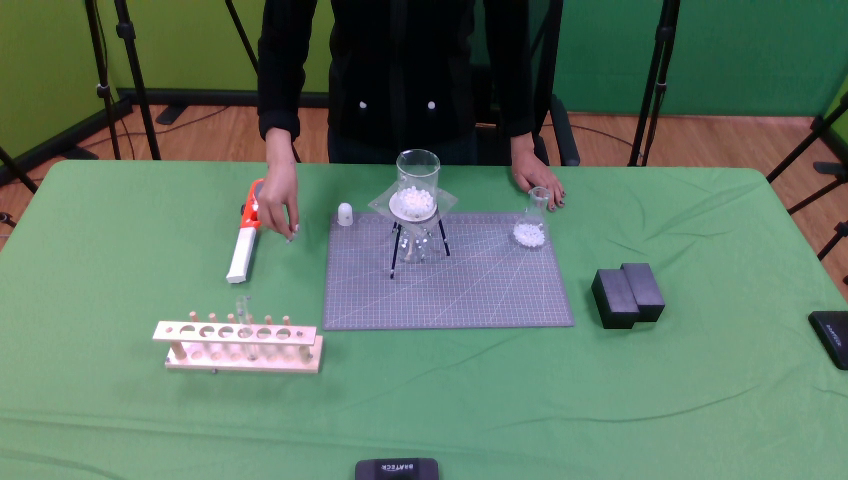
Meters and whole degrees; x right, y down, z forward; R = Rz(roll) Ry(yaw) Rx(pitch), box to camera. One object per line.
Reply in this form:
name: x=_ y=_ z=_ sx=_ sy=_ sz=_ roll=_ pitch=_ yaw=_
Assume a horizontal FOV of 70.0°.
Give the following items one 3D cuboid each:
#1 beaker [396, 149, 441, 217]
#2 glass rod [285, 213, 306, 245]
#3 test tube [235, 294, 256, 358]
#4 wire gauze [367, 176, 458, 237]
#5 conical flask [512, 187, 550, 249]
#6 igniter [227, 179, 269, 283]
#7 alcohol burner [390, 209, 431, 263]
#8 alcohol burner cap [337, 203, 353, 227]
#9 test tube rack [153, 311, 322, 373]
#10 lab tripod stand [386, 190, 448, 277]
beaker: x=-0.015 y=-0.098 z=1.053 sx=0.074 sy=0.101 sz=0.083 roll=-31 pitch=55 yaw=-30
glass rod: x=-0.244 y=-0.023 z=1.153 sx=0.008 sy=0.008 sz=0.199 roll=1 pitch=17 yaw=-2
test tube: x=-0.274 y=0.136 z=0.933 sx=0.017 sy=0.151 sz=0.017 roll=4 pitch=46 yaw=-4
wire gauze: x=-0.020 y=-0.066 z=1.089 sx=0.124 sy=0.011 sz=0.121 roll=27 pitch=47 yaw=22
conical flask: x=0.217 y=-0.048 z=1.190 sx=0.075 sy=0.122 sz=0.075 roll=2 pitch=46 yaw=-2
igniter: x=-0.345 y=-0.027 z=1.195 sx=0.057 sy=0.025 sz=0.274 roll=-6 pitch=46 yaw=5
alcohol burner: x=-0.024 y=-0.014 z=1.144 sx=0.078 sy=0.119 sz=0.077 roll=3 pitch=45 yaw=-3
alcohol burner cap: x=-0.162 y=-0.053 z=1.221 sx=0.034 sy=0.048 sz=0.033 roll=0 pitch=48 yaw=0
test tube rack: x=-0.293 y=0.160 z=0.978 sx=0.242 sy=0.085 sz=0.066 roll=3 pitch=46 yaw=-2
lab tripod stand: x=-0.021 y=-0.018 z=1.135 sx=0.148 sy=0.132 sz=0.147 roll=3 pitch=44 yaw=-3
